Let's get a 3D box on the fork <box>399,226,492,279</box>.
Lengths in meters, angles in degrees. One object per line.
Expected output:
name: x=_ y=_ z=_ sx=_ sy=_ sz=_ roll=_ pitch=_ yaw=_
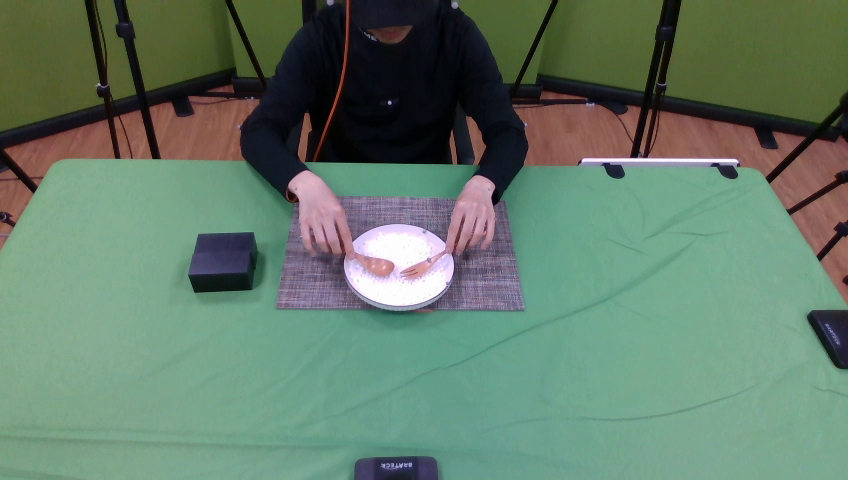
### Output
fork: x=0.044 y=0.021 z=1.144 sx=0.207 sy=0.019 sz=0.028 roll=-29 pitch=56 yaw=-17

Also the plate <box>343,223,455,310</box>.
plate: x=-0.046 y=0.052 z=1.127 sx=0.209 sy=0.038 sz=0.208 roll=3 pitch=46 yaw=-3

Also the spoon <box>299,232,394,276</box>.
spoon: x=-0.145 y=0.020 z=1.126 sx=0.193 sy=0.022 sz=0.041 roll=24 pitch=54 yaw=8
